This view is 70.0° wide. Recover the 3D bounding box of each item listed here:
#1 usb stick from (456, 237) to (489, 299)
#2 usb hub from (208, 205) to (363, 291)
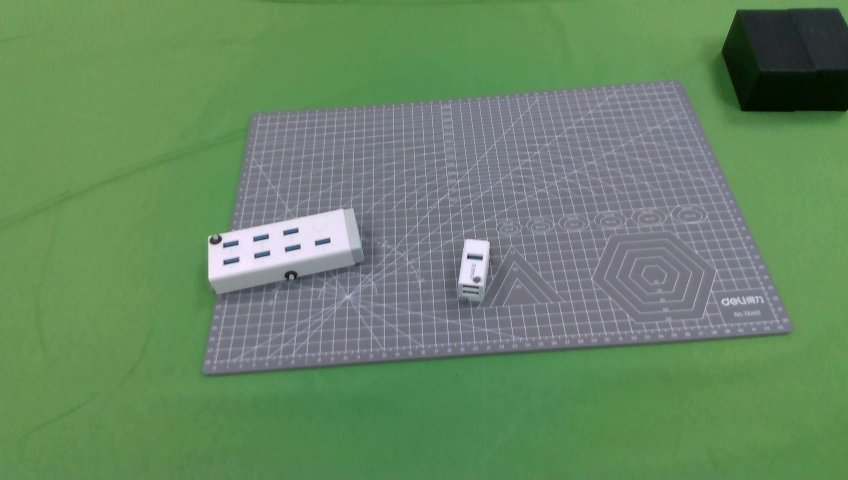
[{"bbox_3d":[0.041,0.017,0.494,0.021,0.027,0.058,5,51,10],"label":"usb stick"},{"bbox_3d":[-0.118,0.005,0.514,0.125,0.025,0.049,-12,53,-5],"label":"usb hub"}]
